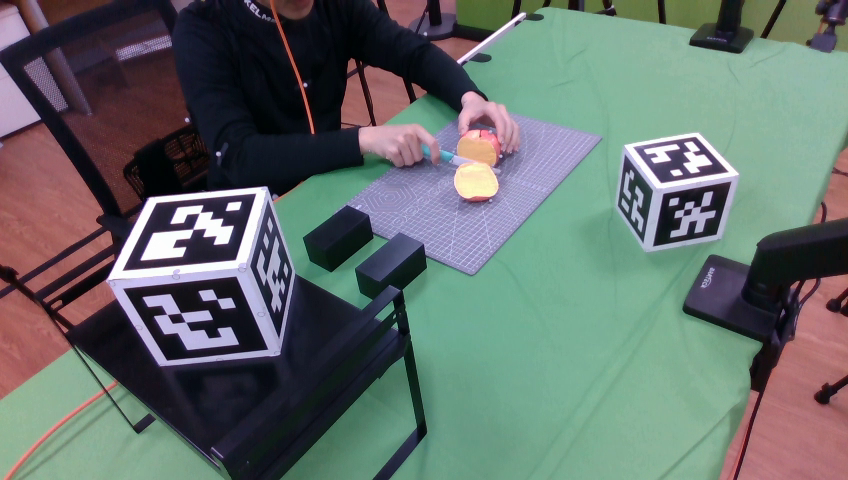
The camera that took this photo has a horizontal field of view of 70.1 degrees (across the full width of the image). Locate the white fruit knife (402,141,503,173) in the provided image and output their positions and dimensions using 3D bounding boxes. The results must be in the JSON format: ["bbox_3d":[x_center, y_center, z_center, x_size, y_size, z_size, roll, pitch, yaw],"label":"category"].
[{"bbox_3d":[0.049,-0.153,1.120,0.206,0.027,0.016,17,52,21],"label":"white fruit knife"}]

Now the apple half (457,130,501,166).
[{"bbox_3d":[0.106,-0.167,1.107,0.080,0.075,0.053,10,39,24],"label":"apple half"}]

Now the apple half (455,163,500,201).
[{"bbox_3d":[0.090,-0.096,1.053,0.081,0.033,0.081,3,59,-4],"label":"apple half"}]
